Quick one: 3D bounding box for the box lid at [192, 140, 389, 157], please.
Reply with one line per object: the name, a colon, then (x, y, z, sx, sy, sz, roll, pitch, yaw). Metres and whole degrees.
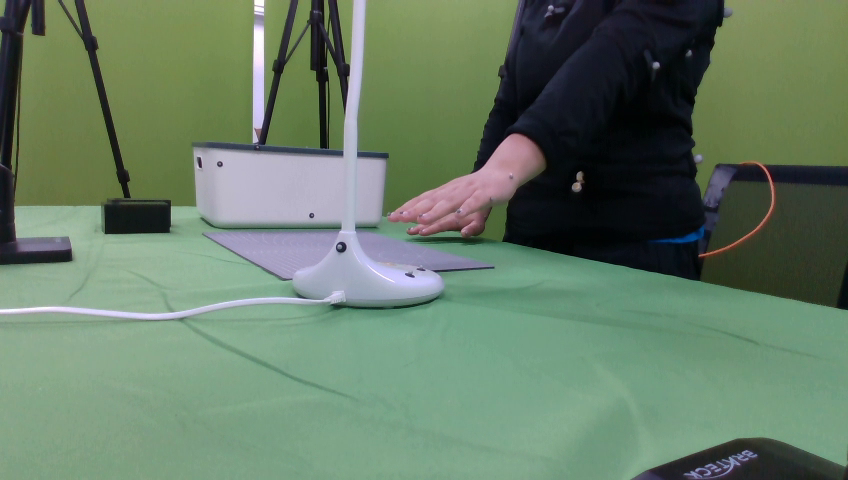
box lid: (-0.287, -0.191, 1.281, 0.373, 0.015, 0.262, 0, 8, -28)

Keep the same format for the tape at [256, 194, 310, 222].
tape: (-0.301, -0.069, 1.294, 0.117, 0.052, 0.117, 2, 7, 0)

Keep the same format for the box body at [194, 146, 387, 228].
box body: (-0.288, -0.118, 1.291, 0.366, 0.160, 0.253, -1, 8, -28)

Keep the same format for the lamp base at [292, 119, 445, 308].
lamp base: (-0.056, -0.030, 0.616, 0.160, 0.180, 0.179, 4, 10, 8)
